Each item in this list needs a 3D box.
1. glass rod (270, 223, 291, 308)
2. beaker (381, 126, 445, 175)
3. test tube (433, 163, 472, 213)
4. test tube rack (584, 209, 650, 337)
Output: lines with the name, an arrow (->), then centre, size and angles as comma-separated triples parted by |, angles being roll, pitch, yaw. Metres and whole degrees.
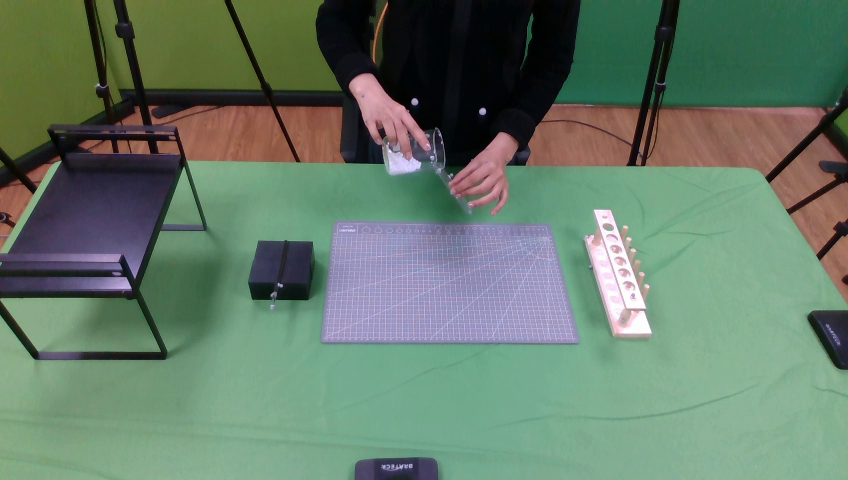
glass rod -> -0.255, 0.041, 1.081 | 0.008, 0.008, 0.198 | 2, 46, -2
beaker -> -0.021, -0.153, 1.063 | 0.100, 0.084, 0.073 | -9, 50, -10
test tube -> 0.057, -0.096, 1.153 | 0.017, 0.151, 0.017 | -17, 51, 22
test tube rack -> 0.365, 0.056, 1.129 | 0.067, 0.085, 0.240 | 1, 46, -4
